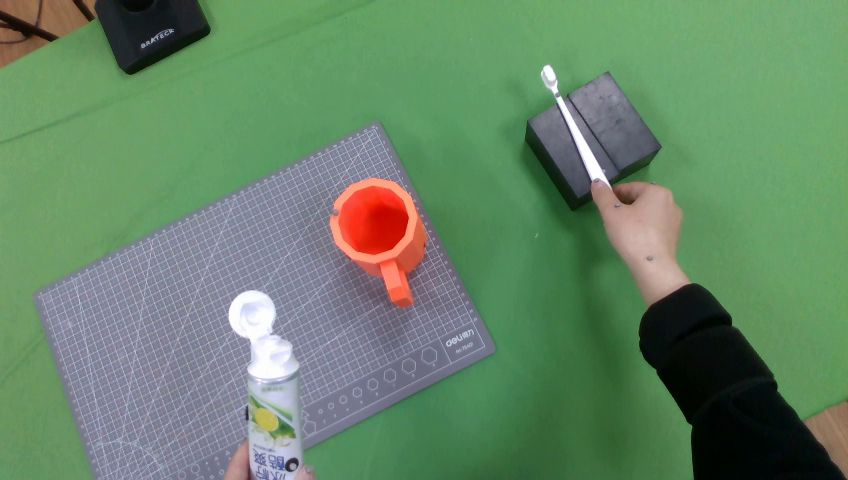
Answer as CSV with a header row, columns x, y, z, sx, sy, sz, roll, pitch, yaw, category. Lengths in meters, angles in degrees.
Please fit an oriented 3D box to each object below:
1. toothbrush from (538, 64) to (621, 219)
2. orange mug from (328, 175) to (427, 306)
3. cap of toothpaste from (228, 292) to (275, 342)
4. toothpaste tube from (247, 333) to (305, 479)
x,y,z,sx,sy,sz,roll,pitch,yaw,category
0.159,-0.104,0.623,0.014,0.017,0.181,-22,77,-2,toothbrush
-0.040,0.005,0.625,0.083,0.101,0.125,-19,72,2,orange mug
-0.121,0.055,0.432,0.037,0.011,0.037,8,77,-38,cap of toothpaste
-0.109,0.145,0.439,0.055,0.034,0.165,7,106,25,toothpaste tube
